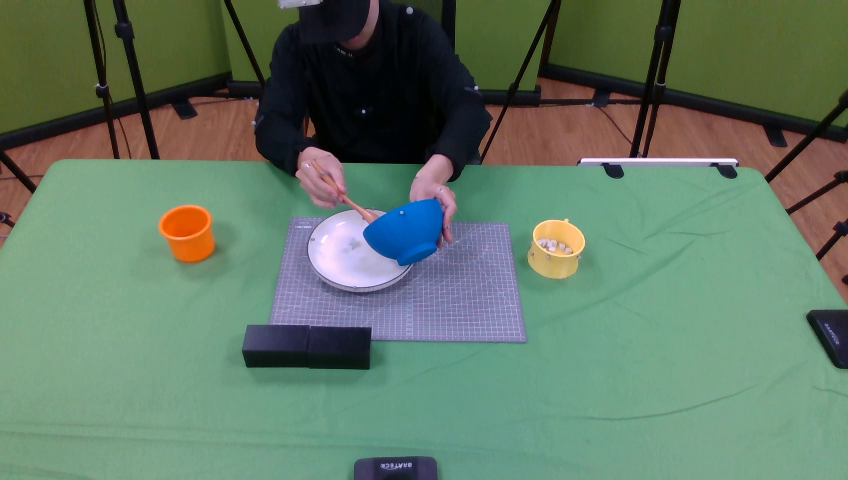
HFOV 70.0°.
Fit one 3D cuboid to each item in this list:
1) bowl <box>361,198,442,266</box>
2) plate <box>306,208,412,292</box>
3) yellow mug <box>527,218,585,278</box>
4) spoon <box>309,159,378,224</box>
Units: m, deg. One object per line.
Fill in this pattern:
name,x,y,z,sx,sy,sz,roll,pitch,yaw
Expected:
bowl,-0.027,-0.005,1.064,0.151,0.151,0.076,-19,77,-21
plate,-0.119,0.021,1.153,0.209,0.038,0.208,2,46,-2
yellow mug,0.261,0.006,1.181,0.100,0.064,0.130,18,47,14
spoon,-0.134,-0.072,1.076,0.194,0.021,0.041,43,40,-17
